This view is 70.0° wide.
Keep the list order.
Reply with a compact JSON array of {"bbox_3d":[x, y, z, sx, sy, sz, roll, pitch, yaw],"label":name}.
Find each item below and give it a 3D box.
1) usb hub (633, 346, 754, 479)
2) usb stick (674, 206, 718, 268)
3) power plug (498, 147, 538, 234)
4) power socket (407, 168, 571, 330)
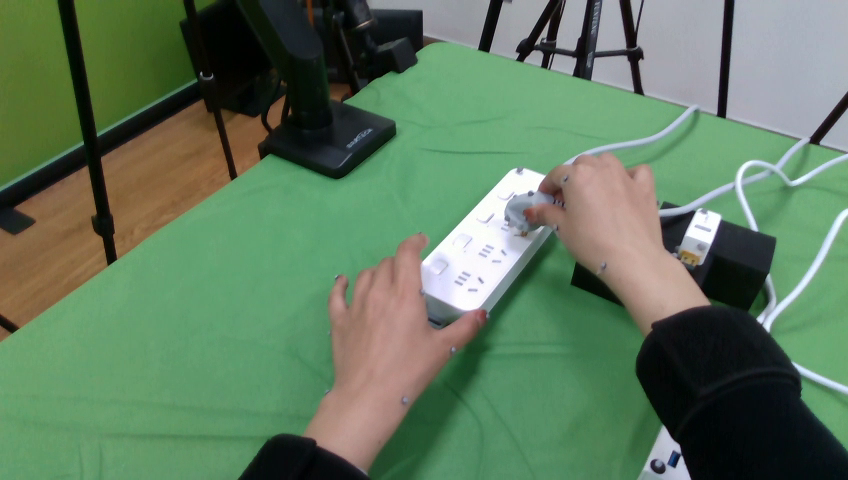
[{"bbox_3d":[0.198,0.134,0.439,0.049,0.025,0.125,24,47,25],"label":"usb hub"},{"bbox_3d":[0.227,-0.001,0.508,0.021,0.027,0.059,25,51,20],"label":"usb stick"},{"bbox_3d":[0.084,-0.043,0.558,0.035,0.053,0.072,14,46,-18],"label":"power plug"},{"bbox_3d":[0.067,0.000,0.574,0.071,0.033,0.226,26,48,23],"label":"power socket"}]
